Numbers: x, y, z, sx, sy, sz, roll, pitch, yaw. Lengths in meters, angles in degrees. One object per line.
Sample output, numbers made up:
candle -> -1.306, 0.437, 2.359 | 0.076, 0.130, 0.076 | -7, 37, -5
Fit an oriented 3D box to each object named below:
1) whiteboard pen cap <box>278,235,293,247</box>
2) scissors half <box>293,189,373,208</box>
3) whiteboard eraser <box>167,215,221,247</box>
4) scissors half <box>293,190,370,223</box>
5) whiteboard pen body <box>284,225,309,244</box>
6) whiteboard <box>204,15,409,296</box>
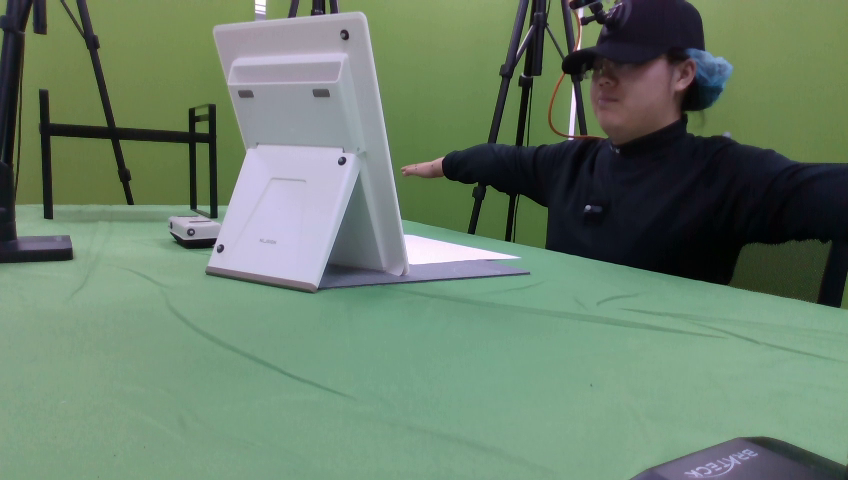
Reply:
whiteboard pen cap -> -0.211, 0.001, 0.928 | 0.018, 0.018, 0.033 | 3, 6, 1
scissors half -> -0.201, -0.097, 1.332 | 0.175, 0.040, 0.013 | 5, 18, -4
whiteboard eraser -> -0.350, -0.014, 0.920 | 0.056, 0.042, 0.112 | 0, 7, -35
scissors half -> -0.205, -0.078, 1.337 | 0.175, 0.040, 0.013 | 22, 10, -8
whiteboard pen body -> -0.208, -0.008, 0.985 | 0.017, 0.017, 0.141 | 3, 9, 1
whiteboard -> -0.166, -0.072, 0.669 | 0.216, 0.305, 0.144 | 8, 30, 30
